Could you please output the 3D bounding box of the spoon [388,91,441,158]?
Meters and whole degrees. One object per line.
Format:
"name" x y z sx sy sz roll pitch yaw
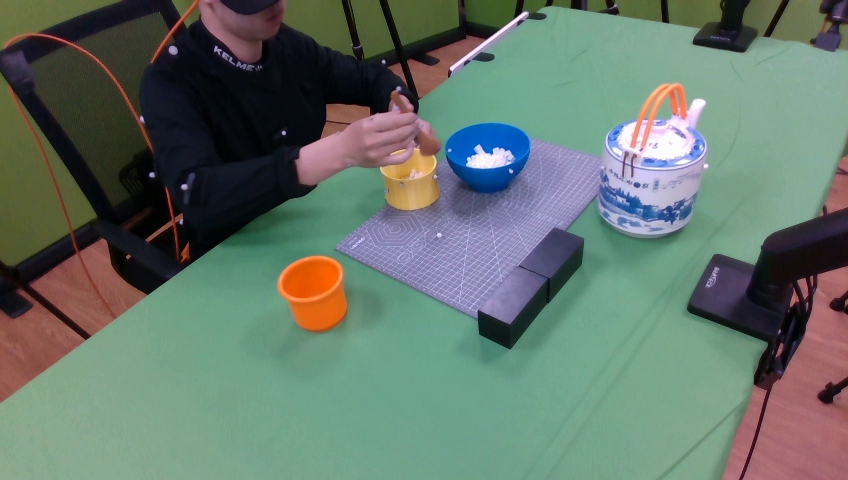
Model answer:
"spoon" -0.016 -0.176 0.935 0.041 0.195 0.021 -30 60 9

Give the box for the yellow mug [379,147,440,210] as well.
"yellow mug" -0.023 -0.117 1.071 0.100 0.064 0.130 -1 40 8

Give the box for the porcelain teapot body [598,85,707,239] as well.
"porcelain teapot body" 0.363 -0.137 0.921 0.144 0.226 0.206 28 51 36

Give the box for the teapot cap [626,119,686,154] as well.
"teapot cap" 0.338 -0.153 0.882 0.085 0.044 0.085 -3 38 3

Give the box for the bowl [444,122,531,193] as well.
"bowl" 0.113 -0.136 1.063 0.151 0.077 0.150 -4 41 4
